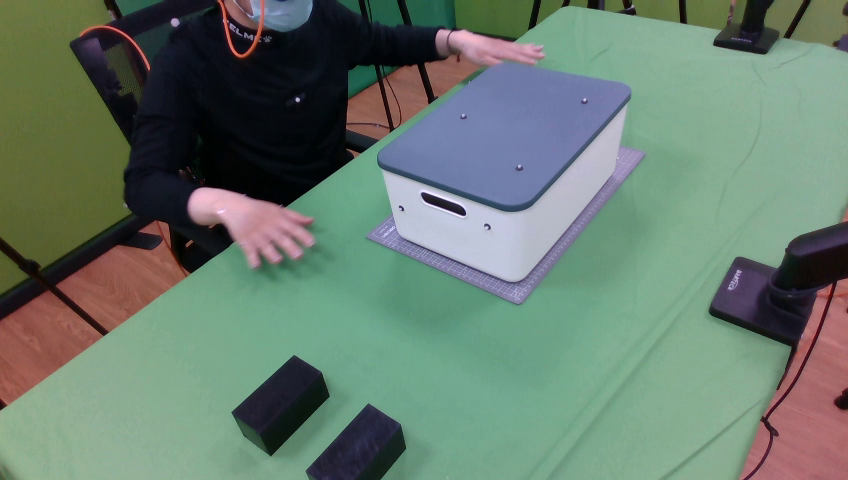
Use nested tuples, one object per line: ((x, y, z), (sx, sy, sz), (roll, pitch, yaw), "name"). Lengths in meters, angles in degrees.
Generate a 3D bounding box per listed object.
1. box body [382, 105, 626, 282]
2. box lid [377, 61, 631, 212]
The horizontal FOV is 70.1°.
((0.137, -0.121, 0.978), (0.252, 0.161, 0.365), (22, 49, 30), "box body")
((0.131, -0.178, 0.930), (0.261, 0.015, 0.372), (22, 49, 30), "box lid")
